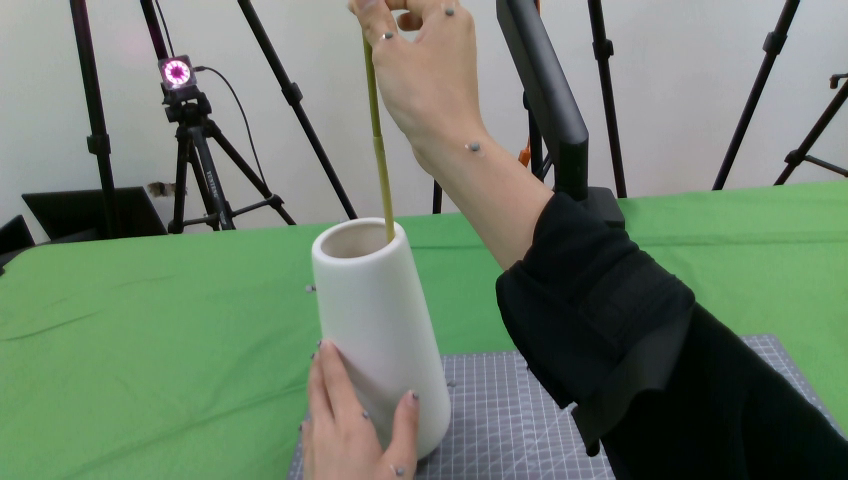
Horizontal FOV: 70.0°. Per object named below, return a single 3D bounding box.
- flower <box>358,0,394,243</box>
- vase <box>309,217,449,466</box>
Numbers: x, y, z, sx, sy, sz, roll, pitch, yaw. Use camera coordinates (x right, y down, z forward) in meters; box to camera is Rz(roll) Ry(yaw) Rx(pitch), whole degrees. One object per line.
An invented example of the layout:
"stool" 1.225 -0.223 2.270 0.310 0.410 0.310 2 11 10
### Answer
"flower" -0.032 -0.102 0.382 0.038 0.364 0.044 1 26 11
"vase" -0.035 0.084 0.485 0.098 0.201 0.097 -5 28 3
